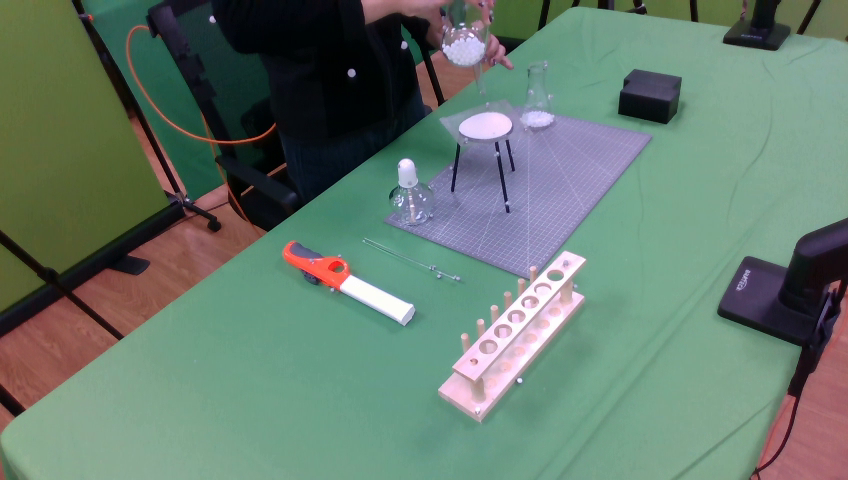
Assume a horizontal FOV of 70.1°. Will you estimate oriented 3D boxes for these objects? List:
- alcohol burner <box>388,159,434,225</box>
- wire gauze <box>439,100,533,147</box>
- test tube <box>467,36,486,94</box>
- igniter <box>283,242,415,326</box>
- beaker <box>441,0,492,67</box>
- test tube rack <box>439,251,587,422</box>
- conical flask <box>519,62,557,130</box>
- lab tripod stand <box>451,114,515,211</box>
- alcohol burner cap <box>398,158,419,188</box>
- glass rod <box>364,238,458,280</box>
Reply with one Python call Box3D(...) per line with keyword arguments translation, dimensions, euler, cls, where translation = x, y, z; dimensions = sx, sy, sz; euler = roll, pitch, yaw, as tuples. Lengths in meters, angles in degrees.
Box3D(translation=(-0.023, -0.084, 1.013), dimensions=(0.078, 0.119, 0.077), euler=(-4, 39, 4), cls="alcohol burner")
Box3D(translation=(0.100, -0.190, 0.994), dimensions=(0.125, 0.011, 0.120), euler=(-15, 39, -7), cls="wire gauze")
Box3D(translation=(0.094, -0.306, 1.070), dimensions=(0.017, 0.151, 0.017), euler=(-5, 67, 11), cls="test tube")
Box3D(translation=(-0.126, 0.062, 0.931), dimensions=(0.274, 0.025, 0.057), euler=(23, 61, 33), cls="igniter")
Box3D(translation=(0.066, -0.323, 0.945), dimensions=(0.074, 0.084, 0.100), euler=(0, 50, 12), cls="beaker")
Box3D(translation=(0.118, 0.111, 0.780), dimensions=(0.066, 0.085, 0.243), euler=(26, 51, 35), cls="test tube rack")
Box3D(translation=(0.225, -0.287, 1.198), dimensions=(0.075, 0.122, 0.075), euler=(-6, 40, 5), cls="conical flask")
Box3D(translation=(0.113, -0.140, 1.037), dimensions=(0.148, 0.132, 0.147), euler=(-6, 38, 5), cls="lab tripod stand")
Box3D(translation=(-0.027, -0.111, 0.989), dimensions=(0.034, 0.048, 0.033), euler=(-3, 47, 4), cls="alcohol burner cap")
Box3D(translation=(-0.026, 0.029, 0.966), dimensions=(0.198, 0.008, 0.008), euler=(21, 49, 35), cls="glass rod")
